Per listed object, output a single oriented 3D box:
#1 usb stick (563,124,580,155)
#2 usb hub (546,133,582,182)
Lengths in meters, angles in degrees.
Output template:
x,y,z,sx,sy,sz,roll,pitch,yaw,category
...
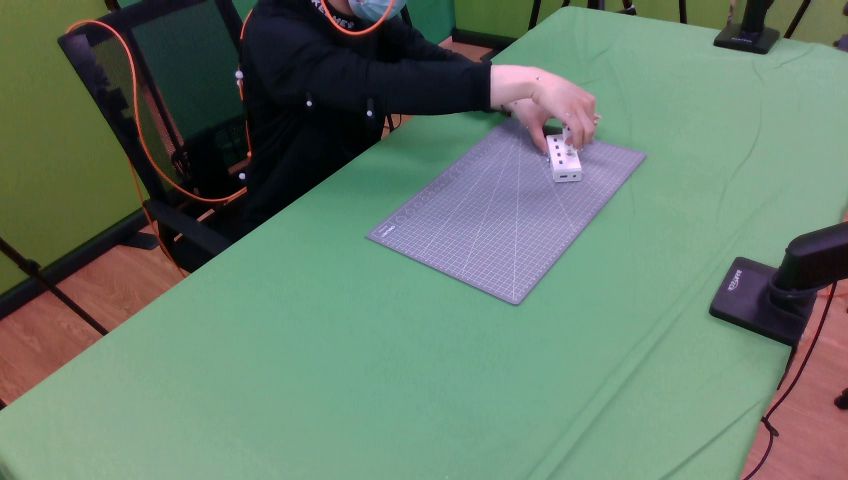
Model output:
x,y,z,sx,sy,sz,roll,pitch,yaw,category
0.262,-0.175,1.074,0.027,0.059,0.021,-8,40,6,usb stick
0.255,-0.152,1.103,0.049,0.025,0.124,-3,41,4,usb hub
